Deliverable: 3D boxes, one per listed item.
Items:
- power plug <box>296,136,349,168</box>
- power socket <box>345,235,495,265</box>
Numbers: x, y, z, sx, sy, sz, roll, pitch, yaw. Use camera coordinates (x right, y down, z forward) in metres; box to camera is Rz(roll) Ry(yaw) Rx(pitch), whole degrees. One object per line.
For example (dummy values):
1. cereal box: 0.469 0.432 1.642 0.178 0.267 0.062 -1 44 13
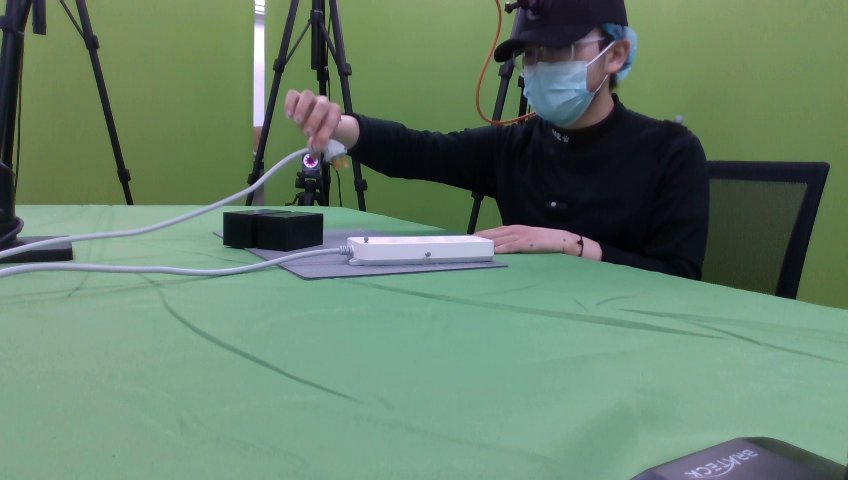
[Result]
1. power plug: -0.152 -0.128 0.926 0.073 0.052 0.035 -26 -1 -10
2. power socket: -0.003 0.012 0.852 0.228 0.032 0.072 -2 7 -26
